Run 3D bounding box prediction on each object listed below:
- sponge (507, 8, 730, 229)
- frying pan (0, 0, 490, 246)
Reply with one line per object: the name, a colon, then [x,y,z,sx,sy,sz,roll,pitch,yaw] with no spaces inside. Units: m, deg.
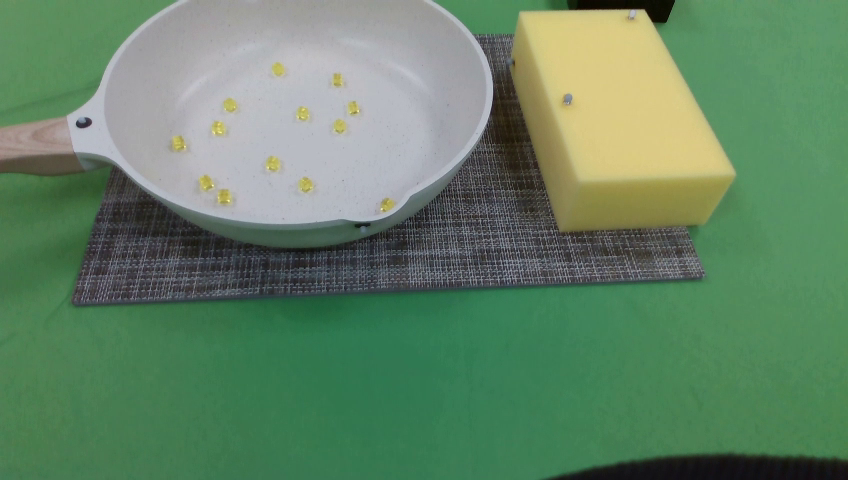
sponge: [0.149,-0.109,0.507,0.118,0.061,0.204,-4,54,-7]
frying pan: [-0.189,-0.086,0.441,0.489,0.103,0.303,-14,55,-23]
